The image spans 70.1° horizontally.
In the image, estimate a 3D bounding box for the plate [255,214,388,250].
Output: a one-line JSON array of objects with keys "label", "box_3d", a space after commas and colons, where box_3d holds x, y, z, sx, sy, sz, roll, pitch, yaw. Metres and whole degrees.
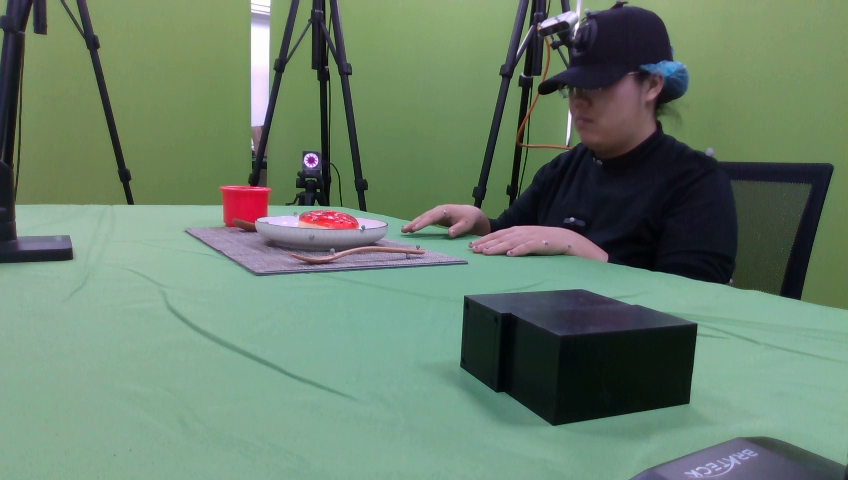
[{"label": "plate", "box_3d": [-0.161, -0.013, 0.961, 0.209, 0.038, 0.209, 2, 7, 0]}]

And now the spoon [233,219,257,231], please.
[{"label": "spoon", "box_3d": [-0.250, -0.028, 1.108, 0.195, 0.021, 0.041, -2, -9, -29]}]

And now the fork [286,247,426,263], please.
[{"label": "fork", "box_3d": [-0.084, 0.019, 0.813, 0.208, 0.018, 0.028, -4, 3, -34]}]

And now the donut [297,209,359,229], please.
[{"label": "donut", "box_3d": [-0.151, -0.023, 0.955, 0.099, 0.048, 0.099, 5, 7, 0]}]
